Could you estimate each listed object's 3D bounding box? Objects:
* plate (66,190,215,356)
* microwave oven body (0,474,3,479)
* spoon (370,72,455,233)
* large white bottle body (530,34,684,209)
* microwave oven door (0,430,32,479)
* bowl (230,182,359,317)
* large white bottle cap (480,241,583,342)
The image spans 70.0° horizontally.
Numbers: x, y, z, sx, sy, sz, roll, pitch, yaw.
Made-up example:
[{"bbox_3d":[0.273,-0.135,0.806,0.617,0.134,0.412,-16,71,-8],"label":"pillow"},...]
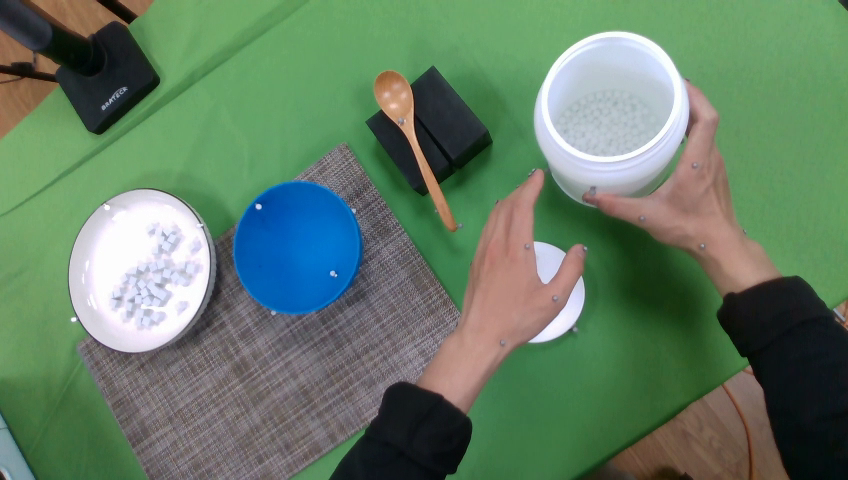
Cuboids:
[{"bbox_3d":[-0.355,0.042,0.770,0.208,0.038,0.208,-2,83,13],"label":"plate"},{"bbox_3d":[-0.623,0.443,0.681,0.326,0.261,0.440,-38,80,6],"label":"microwave oven body"},{"bbox_3d":[-0.010,-0.096,0.674,0.041,0.021,0.193,-23,86,4],"label":"spoon"},{"bbox_3d":[0.171,-0.106,0.575,0.130,0.185,0.130,-2,84,16],"label":"large white bottle body"},{"bbox_3d":[-0.484,0.387,0.651,0.039,0.245,0.354,-38,79,6],"label":"microwave oven door"},{"bbox_3d":[-0.138,0.013,0.705,0.151,0.077,0.151,-1,86,12],"label":"bowl"},{"bbox_3d":[0.121,0.059,0.683,0.114,0.018,0.114,-1,86,11],"label":"large white bottle cap"}]
